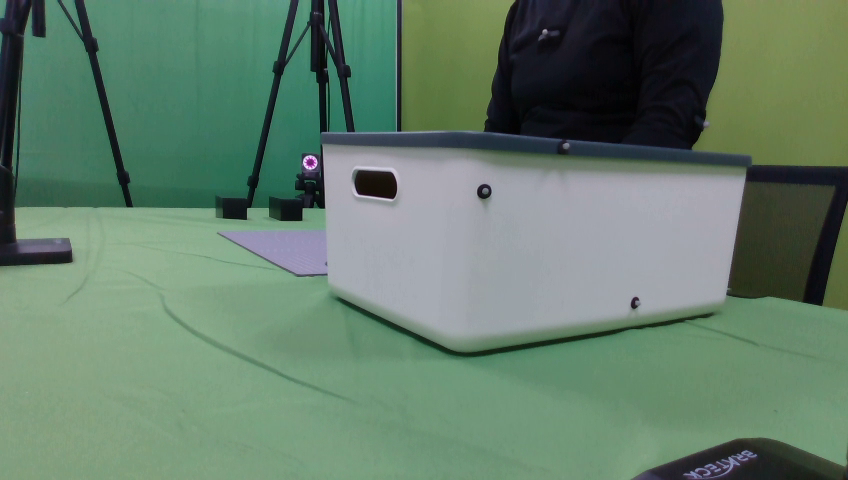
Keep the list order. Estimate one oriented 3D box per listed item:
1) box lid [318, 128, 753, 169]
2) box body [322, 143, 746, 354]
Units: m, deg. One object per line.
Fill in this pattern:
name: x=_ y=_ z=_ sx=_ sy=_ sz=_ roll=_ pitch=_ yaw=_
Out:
box lid: x=0.107 y=-0.085 z=0.594 sx=0.373 sy=0.015 sz=0.262 roll=-1 pitch=8 yaw=-34
box body: x=0.106 y=-0.011 z=0.603 sx=0.366 sy=0.160 sz=0.253 roll=-2 pitch=8 yaw=-34
